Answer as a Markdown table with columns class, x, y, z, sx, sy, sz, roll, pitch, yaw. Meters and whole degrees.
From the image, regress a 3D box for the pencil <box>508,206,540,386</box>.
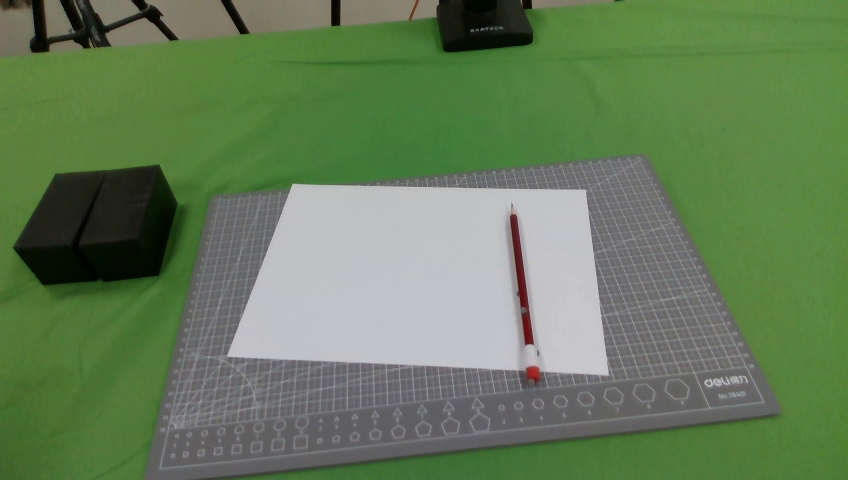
| class | x | y | z | sx | sy | sz | roll | pitch | yaw |
| --- | --- | --- | --- | --- | --- | --- | --- | --- | --- |
| pencil | 0.082 | 0.037 | 0.515 | 0.012 | 0.012 | 0.192 | -2 | 47 | 2 |
